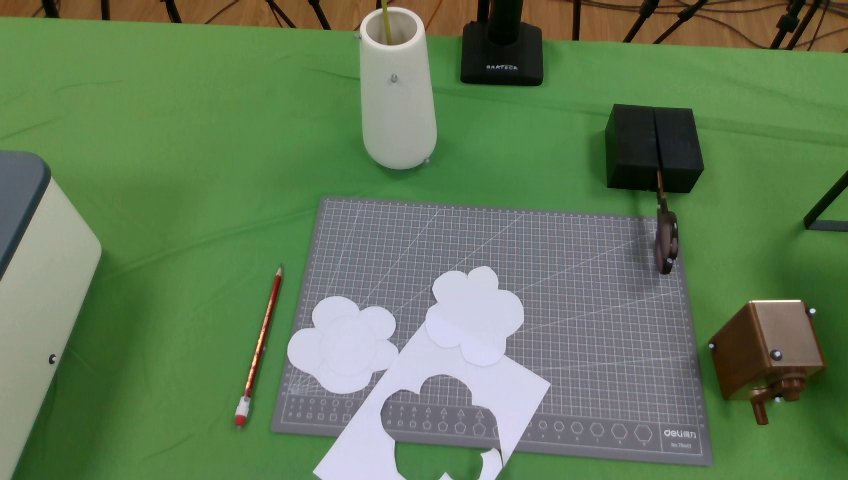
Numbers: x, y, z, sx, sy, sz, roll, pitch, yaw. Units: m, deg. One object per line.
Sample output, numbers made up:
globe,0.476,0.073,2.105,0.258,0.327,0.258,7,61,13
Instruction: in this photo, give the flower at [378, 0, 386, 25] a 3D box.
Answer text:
flower,-0.043,-0.236,0.672,0.044,0.365,0.038,-3,41,2

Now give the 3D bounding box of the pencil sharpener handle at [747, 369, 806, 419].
pencil sharpener handle,0.338,0.149,0.579,0.036,0.068,0.030,7,59,-11

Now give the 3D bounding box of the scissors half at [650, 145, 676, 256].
scissors half,0.281,-0.054,0.719,0.013,0.040,0.173,4,49,5

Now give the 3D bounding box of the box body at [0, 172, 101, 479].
box body,-0.517,0.096,0.593,0.254,0.162,0.361,4,59,2

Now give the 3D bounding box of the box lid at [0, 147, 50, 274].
box lid,-0.518,0.055,0.529,0.263,0.015,0.368,4,59,2

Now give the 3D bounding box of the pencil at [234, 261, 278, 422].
pencil,-0.184,0.106,0.678,0.012,0.012,0.192,4,58,3

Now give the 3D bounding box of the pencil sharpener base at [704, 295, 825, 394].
pencil sharpener base,0.341,0.112,0.616,0.061,0.108,0.076,0,60,0

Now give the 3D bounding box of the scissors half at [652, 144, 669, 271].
scissors half,0.283,-0.044,0.736,0.013,0.040,0.174,2,67,10

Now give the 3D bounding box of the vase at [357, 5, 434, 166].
vase,-0.037,-0.182,0.737,0.098,0.201,0.097,-1,58,1
